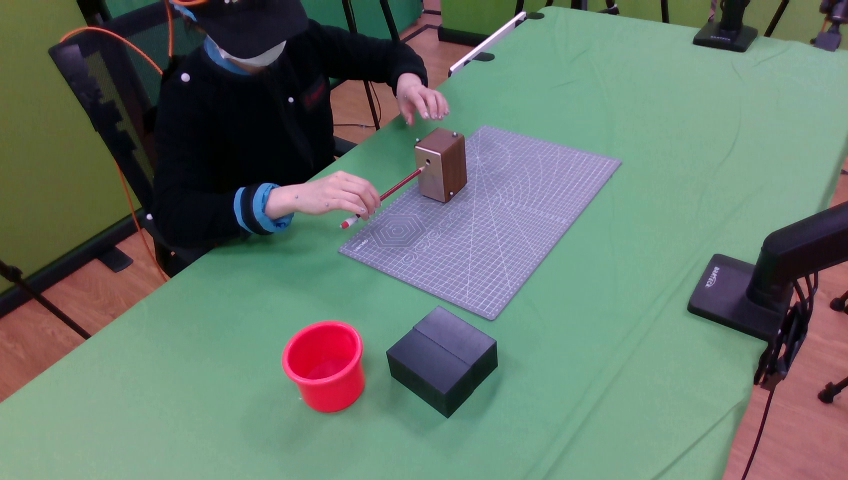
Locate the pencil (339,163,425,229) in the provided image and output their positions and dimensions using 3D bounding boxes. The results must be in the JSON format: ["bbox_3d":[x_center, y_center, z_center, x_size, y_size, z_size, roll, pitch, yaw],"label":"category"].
[{"bbox_3d":[-0.062,-0.074,0.960,0.012,0.012,0.194,26,52,33],"label":"pencil"}]

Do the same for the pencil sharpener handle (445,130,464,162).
[{"bbox_3d":[0.059,-0.171,1.070,0.036,0.068,0.031,26,50,25],"label":"pencil sharpener handle"}]

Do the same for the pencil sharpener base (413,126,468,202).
[{"bbox_3d":[0.032,-0.132,1.047,0.061,0.107,0.077,21,48,30],"label":"pencil sharpener base"}]
